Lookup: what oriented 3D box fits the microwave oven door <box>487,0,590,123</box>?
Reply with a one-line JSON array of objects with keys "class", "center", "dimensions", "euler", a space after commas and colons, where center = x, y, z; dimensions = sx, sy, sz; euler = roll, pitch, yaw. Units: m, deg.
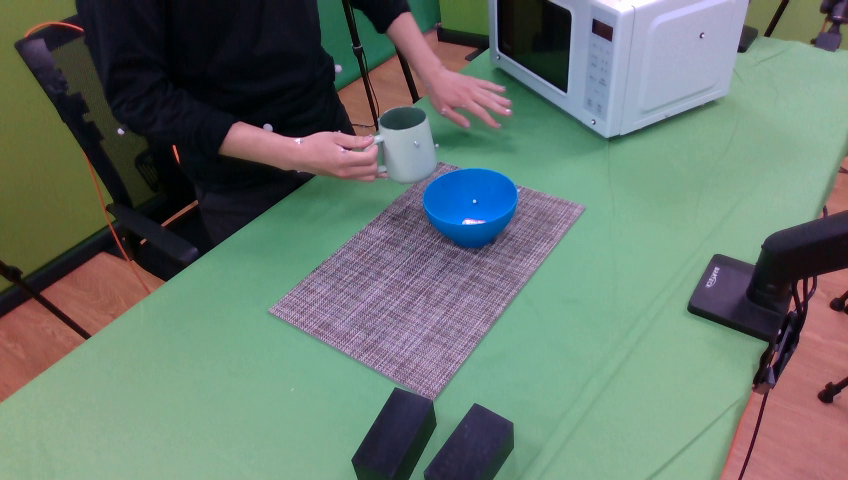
[{"class": "microwave oven door", "center": [0.232, -0.420, 1.230], "dimensions": [0.039, 0.245, 0.352], "euler": [-22, 43, -16]}]

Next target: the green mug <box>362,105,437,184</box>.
[{"class": "green mug", "center": [-0.042, -0.148, 0.981], "dimensions": [0.126, 0.105, 0.091], "euler": [-25, 44, -19]}]

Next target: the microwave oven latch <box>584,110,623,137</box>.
[{"class": "microwave oven latch", "center": [0.337, -0.222, 1.142], "dimensions": [0.030, 0.029, 0.078], "euler": [-21, 42, -15]}]

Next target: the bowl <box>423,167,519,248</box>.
[{"class": "bowl", "center": [0.075, -0.041, 0.959], "dimensions": [0.151, 0.077, 0.150], "euler": [-4, 40, 4]}]

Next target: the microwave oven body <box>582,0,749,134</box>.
[{"class": "microwave oven body", "center": [0.382, -0.444, 1.246], "dimensions": [0.327, 0.261, 0.437], "euler": [-22, 42, -16]}]
